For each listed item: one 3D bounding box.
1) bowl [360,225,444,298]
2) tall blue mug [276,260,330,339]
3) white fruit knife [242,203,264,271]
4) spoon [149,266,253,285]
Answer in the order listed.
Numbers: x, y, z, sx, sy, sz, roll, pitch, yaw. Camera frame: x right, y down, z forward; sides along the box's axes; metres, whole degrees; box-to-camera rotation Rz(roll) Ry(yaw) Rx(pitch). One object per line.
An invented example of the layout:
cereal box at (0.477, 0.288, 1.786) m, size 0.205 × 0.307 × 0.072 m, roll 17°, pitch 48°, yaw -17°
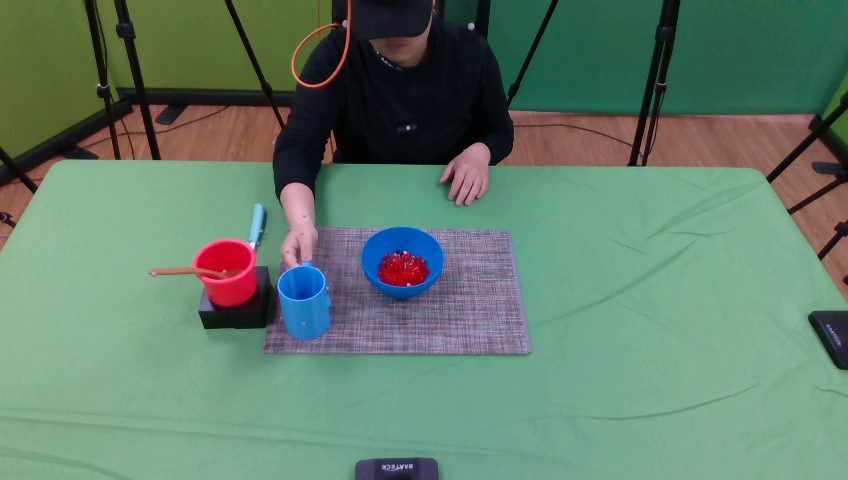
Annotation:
bowl at (-0.040, 0.053, 1.099) m, size 0.151 × 0.077 × 0.150 m, roll 2°, pitch 46°, yaw -2°
tall blue mug at (-0.208, 0.095, 1.025) m, size 0.078 × 0.108 × 0.106 m, roll -21°, pitch 51°, yaw -21°
white fruit knife at (-0.334, 0.001, 1.179) m, size 0.027 × 0.016 × 0.206 m, roll -18°, pitch 46°, yaw 16°
spoon at (-0.351, 0.052, 0.968) m, size 0.041 × 0.021 × 0.194 m, roll 41°, pitch 12°, yaw 28°
